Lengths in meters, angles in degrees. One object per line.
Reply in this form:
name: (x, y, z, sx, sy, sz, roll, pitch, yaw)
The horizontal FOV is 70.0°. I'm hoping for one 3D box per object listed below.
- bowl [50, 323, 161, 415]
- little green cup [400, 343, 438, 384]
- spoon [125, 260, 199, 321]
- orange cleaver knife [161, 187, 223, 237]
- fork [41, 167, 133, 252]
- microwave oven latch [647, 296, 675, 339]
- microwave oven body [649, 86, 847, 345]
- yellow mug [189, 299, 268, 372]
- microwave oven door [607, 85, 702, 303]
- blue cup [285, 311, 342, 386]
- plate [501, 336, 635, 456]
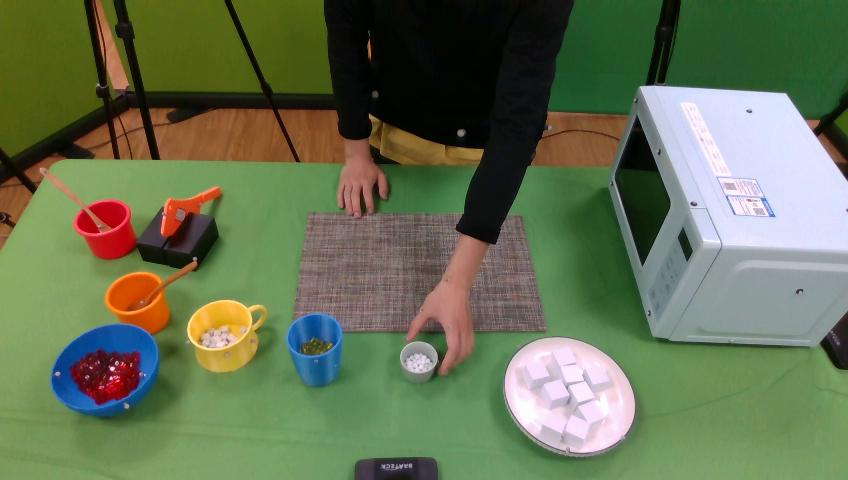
bowl: (-0.472, 0.209, 0.924, 0.151, 0.077, 0.150, 2, 45, -2)
little green cup: (-0.010, 0.203, 0.992, 0.061, 0.039, 0.061, 3, 46, -3)
spoon: (-0.434, 0.083, 0.999, 0.022, 0.194, 0.041, 34, 34, -35)
orange cleaver knife: (-0.448, -0.058, 1.181, 0.012, 0.077, 0.211, 13, 17, 6)
fork: (-0.624, -0.055, 1.121, 0.208, 0.018, 0.028, 49, 51, -15)
microwave oven latch: (0.413, 0.134, 1.061, 0.030, 0.029, 0.078, 5, 45, 2)
microwave oven body: (0.568, -0.053, 1.118, 0.326, 0.261, 0.439, 2, 45, -1)
yellow mug: (-0.316, 0.148, 1.002, 0.131, 0.064, 0.099, -32, 56, -31)
microwave oven door: (0.423, -0.094, 1.141, 0.039, 0.245, 0.353, 2, 46, -1)
blue cup: (-0.169, 0.179, 0.958, 0.093, 0.101, 0.092, 1, 44, -1)
plate: (0.225, 0.248, 0.963, 0.208, 0.039, 0.206, 2, 46, -2)
